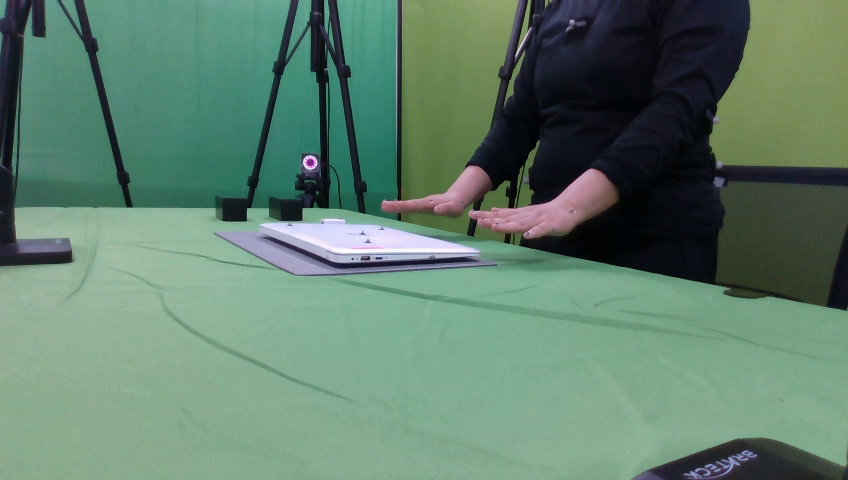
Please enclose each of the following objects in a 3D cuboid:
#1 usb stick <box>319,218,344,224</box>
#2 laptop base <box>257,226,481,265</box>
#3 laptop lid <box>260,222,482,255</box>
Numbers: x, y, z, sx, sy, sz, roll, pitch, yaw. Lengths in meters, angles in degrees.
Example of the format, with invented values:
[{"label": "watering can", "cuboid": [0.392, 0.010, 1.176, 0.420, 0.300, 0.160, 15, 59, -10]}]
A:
[{"label": "usb stick", "cuboid": [-0.184, -0.027, 1.153, 0.059, 0.027, 0.021, -5, 14, -31]}, {"label": "laptop base", "cuboid": [-0.102, 0.007, 0.962, 0.237, 0.023, 0.352, 2, 6, -32]}, {"label": "laptop lid", "cuboid": [-0.100, -0.005, 0.962, 0.243, 0.013, 0.355, 1, 7, -30]}]
